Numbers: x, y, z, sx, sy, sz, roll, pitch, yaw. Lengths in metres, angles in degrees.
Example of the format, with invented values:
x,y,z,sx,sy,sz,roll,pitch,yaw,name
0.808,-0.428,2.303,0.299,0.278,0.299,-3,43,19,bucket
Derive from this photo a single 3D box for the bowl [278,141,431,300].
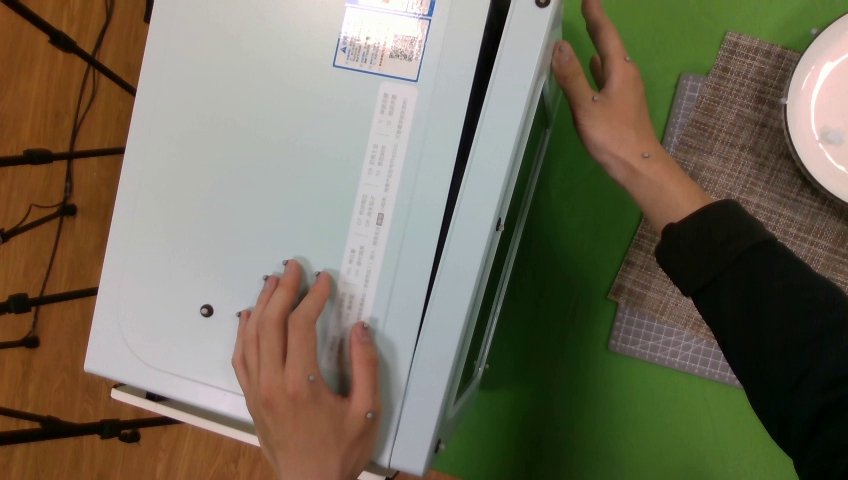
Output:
x,y,z,sx,sy,sz,roll,pitch,yaw,name
-0.059,-0.017,0.603,0.151,0.077,0.151,0,90,12,bowl

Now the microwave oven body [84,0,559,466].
x,y,z,sx,sy,sz,roll,pitch,yaw,name
-0.080,-0.075,0.576,0.325,0.261,0.442,13,93,12,microwave oven body

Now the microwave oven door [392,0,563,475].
x,y,z,sx,sy,sz,roll,pitch,yaw,name
0.057,0.000,0.540,0.039,0.244,0.356,16,93,14,microwave oven door

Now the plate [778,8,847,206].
x,y,z,sx,sy,sz,roll,pitch,yaw,name
0.444,-0.123,0.568,0.208,0.038,0.209,0,89,13,plate

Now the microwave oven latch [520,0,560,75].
x,y,z,sx,sy,sz,roll,pitch,yaw,name
0.120,-0.215,0.629,0.030,0.029,0.079,16,94,12,microwave oven latch
